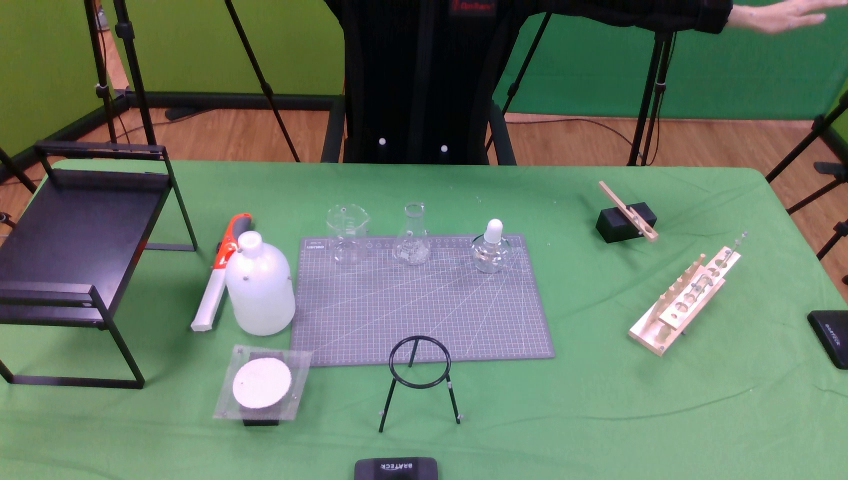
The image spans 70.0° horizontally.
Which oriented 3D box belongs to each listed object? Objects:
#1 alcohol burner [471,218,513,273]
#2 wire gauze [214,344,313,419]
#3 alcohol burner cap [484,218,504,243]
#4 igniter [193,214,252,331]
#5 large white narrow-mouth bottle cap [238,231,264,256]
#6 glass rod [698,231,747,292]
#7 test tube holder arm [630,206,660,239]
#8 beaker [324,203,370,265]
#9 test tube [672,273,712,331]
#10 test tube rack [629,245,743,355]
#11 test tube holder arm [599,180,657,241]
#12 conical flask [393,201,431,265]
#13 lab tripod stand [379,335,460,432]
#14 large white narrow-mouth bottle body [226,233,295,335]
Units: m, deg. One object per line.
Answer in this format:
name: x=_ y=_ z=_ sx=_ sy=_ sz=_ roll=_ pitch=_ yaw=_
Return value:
alcohol burner: x=0.128 y=0.005 z=1.132 sx=0.078 sy=0.120 sz=0.077 roll=0 pitch=47 yaw=0
wire gauze: x=-0.241 y=0.213 z=0.915 sx=0.121 sy=0.011 sz=0.124 roll=5 pitch=46 yaw=1
alcohol burner cap: x=0.130 y=-0.021 z=1.106 sx=0.034 sy=0.048 sz=0.033 roll=3 pitch=51 yaw=-4
igniter: x=-0.368 y=0.050 z=1.119 sx=0.057 sy=0.025 sz=0.275 roll=-3 pitch=46 yaw=8
large white narrow-mouth bottle cap: x=-0.266 y=0.005 z=0.932 sx=0.038 sy=0.024 sz=0.037 roll=2 pitch=46 yaw=-2
glass rod: x=0.513 y=0.044 z=1.051 sx=0.008 sy=0.200 sz=0.008 roll=1 pitch=55 yaw=-1
test tube holder arm: x=0.431 y=-0.035 z=1.192 sx=0.010 sy=0.015 sz=0.087 roll=-23 pitch=51 yaw=-12
beaker: x=-0.142 y=-0.009 z=1.137 sx=0.084 sy=0.101 sz=0.073 roll=-3 pitch=47 yaw=-7
test tube: x=0.439 y=0.106 z=1.009 sx=0.017 sy=0.151 sz=0.017 roll=4 pitch=48 yaw=-4
test tube rack: x=0.474 y=0.095 z=1.091 sx=0.242 sy=0.085 sz=0.066 roll=-34 pitch=56 yaw=-31
test tube holder arm: x=0.407 y=-0.062 z=1.219 sx=0.013 sy=0.015 sz=0.177 roll=-23 pitch=51 yaw=-12
conical flask: x=-0.021 y=-0.017 z=1.137 sx=0.075 sy=0.122 sz=0.075 roll=2 pitch=46 yaw=-2
lab tripod stand: x=-0.011 y=0.214 z=0.911 sx=0.148 sy=0.132 sz=0.147 roll=1 pitch=45 yaw=0
large white narrow-mouth bottle body: x=-0.270 y=0.065 z=0.995 sx=0.102 sy=0.195 sz=0.101 roll=2 pitch=46 yaw=-2
